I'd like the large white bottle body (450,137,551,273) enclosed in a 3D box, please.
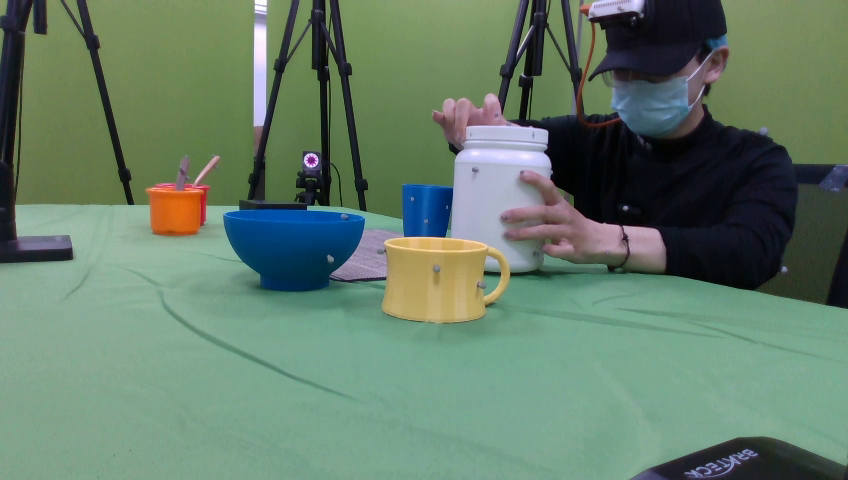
[{"bbox_3d":[0.102,-0.057,0.815,0.131,0.184,0.130,3,7,0],"label":"large white bottle body"}]

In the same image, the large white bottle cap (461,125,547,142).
[{"bbox_3d":[0.106,-0.140,0.804,0.115,0.018,0.115,1,6,0],"label":"large white bottle cap"}]

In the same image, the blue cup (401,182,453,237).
[{"bbox_3d":[0.002,-0.038,0.966,0.093,0.100,0.092,4,9,0],"label":"blue cup"}]

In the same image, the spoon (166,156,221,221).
[{"bbox_3d":[-0.447,-0.104,1.191,0.041,0.022,0.193,7,52,14],"label":"spoon"}]

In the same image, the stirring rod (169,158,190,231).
[{"bbox_3d":[-0.427,-0.082,1.059,0.014,0.006,0.175,2,49,-13],"label":"stirring rod"}]

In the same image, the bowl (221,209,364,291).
[{"bbox_3d":[-0.142,0.011,0.660,0.151,0.077,0.151,2,7,0],"label":"bowl"}]

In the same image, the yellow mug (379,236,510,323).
[{"bbox_3d":[0.024,0.034,0.575,0.131,0.064,0.099,0,7,-22],"label":"yellow mug"}]
